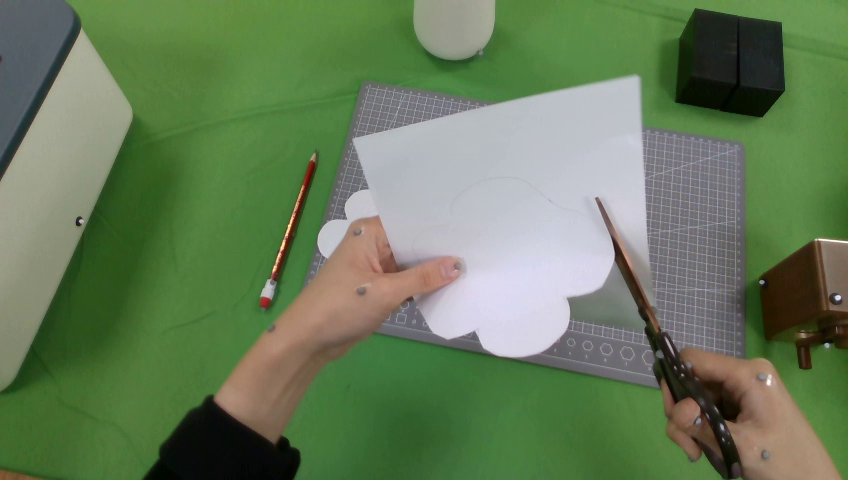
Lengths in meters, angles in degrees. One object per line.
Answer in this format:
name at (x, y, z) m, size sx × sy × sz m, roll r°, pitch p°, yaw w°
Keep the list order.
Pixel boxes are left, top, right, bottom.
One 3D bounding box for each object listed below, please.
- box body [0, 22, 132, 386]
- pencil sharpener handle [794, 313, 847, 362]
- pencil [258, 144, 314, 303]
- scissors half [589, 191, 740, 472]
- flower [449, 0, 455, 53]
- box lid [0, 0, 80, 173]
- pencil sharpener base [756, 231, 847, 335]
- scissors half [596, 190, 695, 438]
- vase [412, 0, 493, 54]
box body at (-0.480, -0.056, 0.582) m, size 0.254 × 0.161 × 0.361 m, roll 10°, pitch 68°, yaw 4°
pencil sharpener handle at (0.362, 0.089, 0.544) m, size 0.036 × 0.068 × 0.030 m, roll 11°, pitch 68°, yaw -10°
pencil at (-0.145, -0.023, 0.654) m, size 0.012 × 0.012 × 0.193 m, roll 11°, pitch 67°, yaw 5°
scissors half at (0.134, 0.050, 0.344) m, size 0.013 × 0.040 × 0.174 m, roll -26°, pitch 83°, yaw 0°
flower at (0.027, -0.345, 0.592) m, size 0.044 × 0.365 × 0.038 m, roll 3°, pitch 50°, yaw 5°
box lid at (-0.480, -0.087, 0.514) m, size 0.263 × 0.015 × 0.369 m, roll 11°, pitch 68°, yaw 4°
pencil sharpener base at (0.372, 0.048, 0.574) m, size 0.061 × 0.108 × 0.076 m, roll 6°, pitch 68°, yaw 3°
scissors half at (0.135, 0.047, 0.366) m, size 0.013 × 0.039 × 0.176 m, roll -25°, pitch 109°, yaw 5°
vase at (0.032, -0.300, 0.664) m, size 0.098 × 0.201 × 0.097 m, roll 0°, pitch 66°, yaw 1°
